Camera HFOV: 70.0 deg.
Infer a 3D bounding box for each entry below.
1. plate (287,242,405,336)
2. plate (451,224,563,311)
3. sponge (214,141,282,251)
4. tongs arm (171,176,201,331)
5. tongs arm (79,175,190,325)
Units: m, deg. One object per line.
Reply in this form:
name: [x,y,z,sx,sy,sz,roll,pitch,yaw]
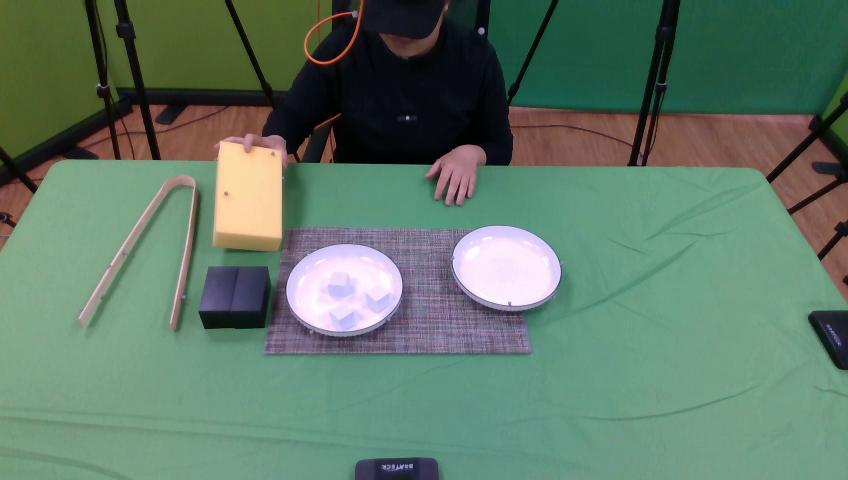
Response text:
plate: [-0.138,0.090,1.085,0.208,0.039,0.206,2,46,-2]
plate: [0.154,0.053,1.140,0.209,0.038,0.208,2,46,-2]
sponge: [-0.339,-0.085,1.177,0.118,0.061,0.205,5,60,-22]
tongs arm: [-0.453,0.010,1.151,0.028,0.028,0.385,-6,47,-6]
tongs arm: [-0.534,0.005,1.145,0.051,0.026,0.382,6,45,0]
